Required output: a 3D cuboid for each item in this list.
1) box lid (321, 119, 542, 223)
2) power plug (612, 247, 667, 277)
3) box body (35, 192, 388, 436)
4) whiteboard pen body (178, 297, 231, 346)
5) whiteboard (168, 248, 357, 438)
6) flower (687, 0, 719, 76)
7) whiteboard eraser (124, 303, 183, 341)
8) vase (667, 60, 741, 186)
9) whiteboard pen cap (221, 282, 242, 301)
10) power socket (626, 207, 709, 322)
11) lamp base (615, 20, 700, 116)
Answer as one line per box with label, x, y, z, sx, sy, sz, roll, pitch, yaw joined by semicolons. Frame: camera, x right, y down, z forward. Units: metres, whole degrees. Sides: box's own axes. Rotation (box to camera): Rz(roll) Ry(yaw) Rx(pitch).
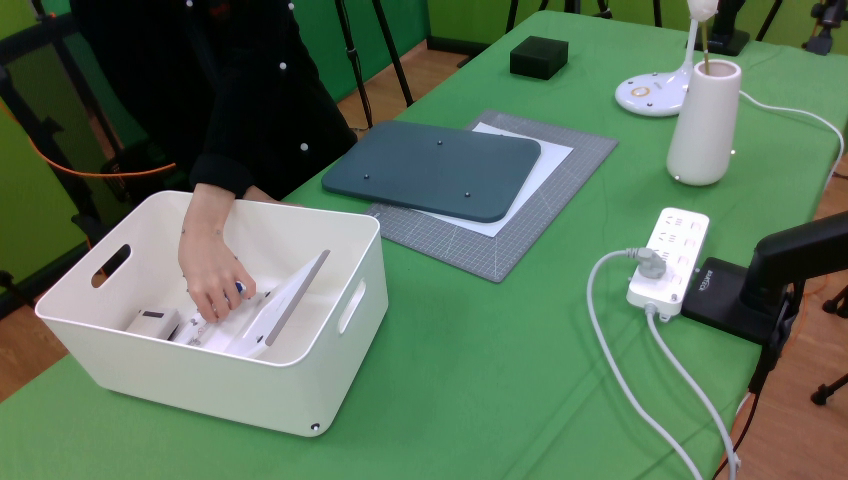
box lid;0.017;-0.141;1.145;0.369;0.015;0.263;12;44;22
power plug;0.306;0.031;0.852;0.072;0.053;0.035;21;48;37
box body;-0.251;0.088;0.800;0.362;0.161;0.254;7;42;16
whiteboard pen body;-0.300;0.112;0.831;0.017;0.017;0.141;11;40;20
whiteboard;-0.242;0.100;0.799;0.304;0.144;0.217;8;44;15
flower;0.436;-0.242;0.934;0.038;0.364;0.043;-24;49;9
whiteboard eraser;-0.384;0.139;0.829;0.055;0.042;0.112;9;40;8
vase;0.463;-0.189;0.994;0.098;0.201;0.097;-4;40;4
whiteboard pen cap;-0.279;0.077;0.874;0.018;0.018;0.033;10;43;19
power socket;0.360;0.026;0.886;0.072;0.033;0.227;17;46;27
lamp base;0.484;-0.364;1.211;0.180;0.181;0.159;-15;41;-14
